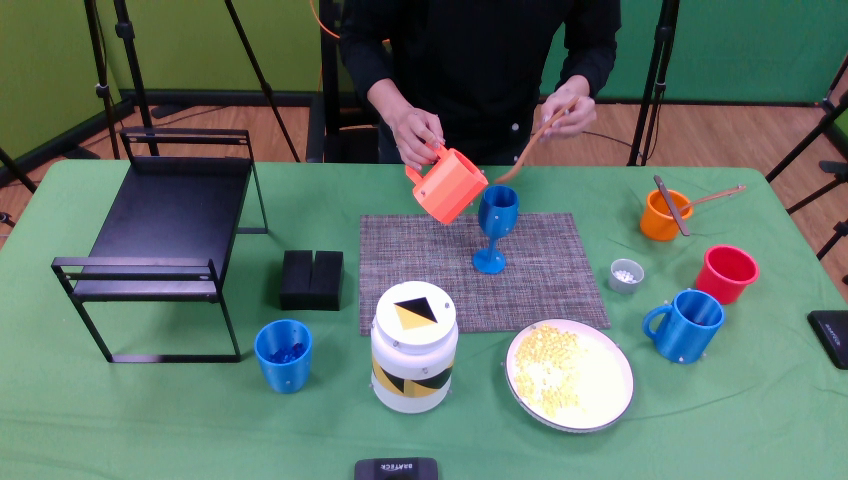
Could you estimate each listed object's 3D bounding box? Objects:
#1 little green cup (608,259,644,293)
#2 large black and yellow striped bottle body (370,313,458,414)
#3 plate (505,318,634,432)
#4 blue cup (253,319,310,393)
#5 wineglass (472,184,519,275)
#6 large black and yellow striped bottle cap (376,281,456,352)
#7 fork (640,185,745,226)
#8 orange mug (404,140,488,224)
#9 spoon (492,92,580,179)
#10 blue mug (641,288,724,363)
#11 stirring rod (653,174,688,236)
[{"bbox_3d":[0.379,0.070,1.147,0.061,0.039,0.061,3,45,-3],"label":"little green cup"},{"bbox_3d":[-0.017,0.165,0.924,0.131,0.185,0.130,2,46,-2],"label":"large black and yellow striped bottle body"},{"bbox_3d":[0.235,0.221,0.991,0.209,0.038,0.208,2,46,-2],"label":"plate"},{"bbox_3d":[-0.217,0.187,0.943,0.093,0.101,0.092,4,45,-3],"label":"blue cup"},{"bbox_3d":[0.129,-0.018,1.112,0.074,0.173,0.073,2,46,-2],"label":"wineglass"},{"bbox_3d":[-0.011,0.107,0.863,0.115,0.019,0.114,2,47,-2],"label":"large black and yellow striped bottle cap"},{"bbox_3d":[0.534,-0.069,1.215,0.207,0.019,0.028,-26,27,33],"label":"fork"},{"bbox_3d":[0.031,-0.103,1.001,0.126,0.101,0.083,50,18,3],"label":"orange mug"},{"bbox_3d":[0.179,-0.166,0.979,0.021,0.194,0.041,42,22,5],"label":"spoon"},{"bbox_3d":[0.432,0.144,1.033,0.116,0.106,0.082,9,46,5],"label":"blue mug"},{"bbox_3d":[0.491,-0.072,1.211,0.014,0.006,0.175,0,47,-6],"label":"stirring rod"}]
